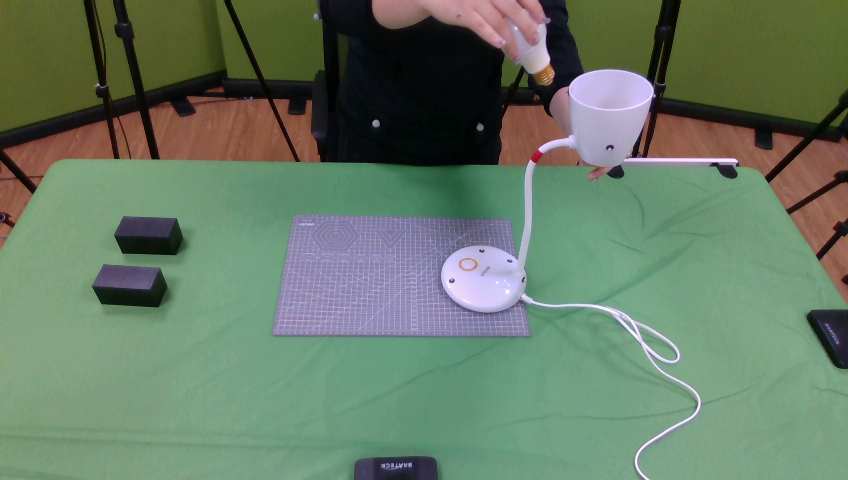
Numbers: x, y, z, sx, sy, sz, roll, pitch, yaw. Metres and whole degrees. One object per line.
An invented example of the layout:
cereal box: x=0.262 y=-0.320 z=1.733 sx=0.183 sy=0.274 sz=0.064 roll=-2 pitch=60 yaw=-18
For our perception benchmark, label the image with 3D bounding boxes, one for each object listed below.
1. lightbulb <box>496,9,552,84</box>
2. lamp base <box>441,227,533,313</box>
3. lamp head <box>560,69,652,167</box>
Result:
lightbulb: x=0.134 y=-0.244 z=0.776 sx=0.059 sy=0.108 sz=0.059 roll=-26 pitch=36 yaw=21
lamp base: x=0.126 y=0.021 z=1.072 sx=0.179 sy=0.181 sz=0.160 roll=23 pitch=49 yaw=14
lamp head: x=0.253 y=-0.165 z=0.861 sx=0.112 sy=0.123 sz=0.111 roll=0 pitch=42 yaw=0
